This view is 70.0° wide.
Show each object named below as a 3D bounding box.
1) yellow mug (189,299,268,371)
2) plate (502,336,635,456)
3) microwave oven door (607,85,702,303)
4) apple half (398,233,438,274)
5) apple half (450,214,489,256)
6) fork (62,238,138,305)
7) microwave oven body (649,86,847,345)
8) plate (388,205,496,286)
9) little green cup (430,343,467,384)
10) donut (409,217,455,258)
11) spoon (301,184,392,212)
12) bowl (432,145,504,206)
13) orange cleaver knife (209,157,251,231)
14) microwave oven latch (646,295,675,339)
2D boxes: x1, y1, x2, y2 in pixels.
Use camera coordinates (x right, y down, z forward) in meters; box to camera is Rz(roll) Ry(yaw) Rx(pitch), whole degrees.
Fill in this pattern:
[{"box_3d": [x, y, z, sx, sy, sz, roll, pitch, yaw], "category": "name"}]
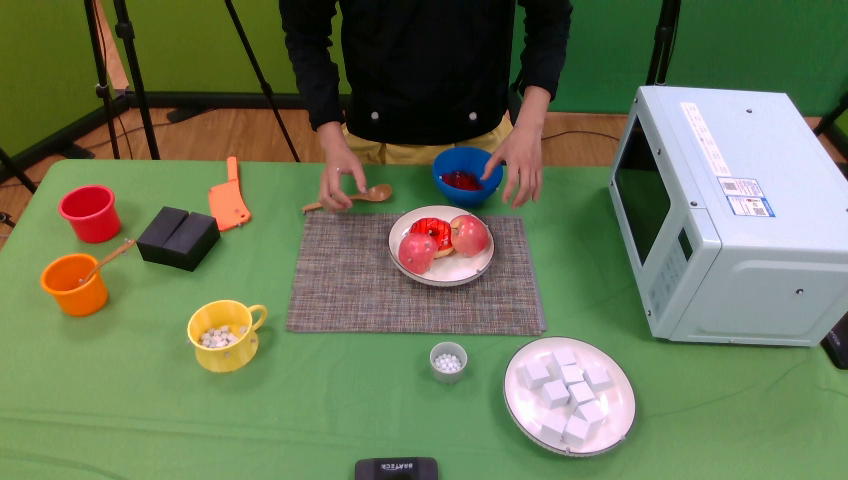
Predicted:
[{"box_3d": [-0.316, 0.148, 1.002, 0.131, 0.064, 0.099, -33, 56, -31], "category": "yellow mug"}, {"box_3d": [0.225, 0.248, 0.964, 0.208, 0.039, 0.206, 2, 46, -2], "category": "plate"}, {"box_3d": [0.423, -0.094, 1.140, 0.039, 0.245, 0.353, 2, 46, -1], "category": "microwave oven door"}, {"box_3d": [-0.016, 0.022, 1.123, 0.081, 0.033, 0.081, -2, 83, 14], "category": "apple half"}, {"box_3d": [0.092, -0.014, 1.158, 0.075, 0.053, 0.080, 35, 39, -29], "category": "apple half"}, {"box_3d": [-0.547, 0.053, 1.018, 0.207, 0.019, 0.028, -36, 41, 23], "category": "fork"}, {"box_3d": [0.568, -0.053, 1.118, 0.326, 0.261, 0.439, 2, 45, -1], "category": "microwave oven body"}, {"box_3d": [0.033, 0.014, 1.171, 0.209, 0.038, 0.208, 3, 46, -2], "category": "plate"}, {"box_3d": [0.039, 0.203, 0.994, 0.061, 0.039, 0.061, 2, 46, -2], "category": "little green cup"}, {"box_3d": [0.019, -0.006, 1.174, 0.099, 0.048, 0.098, 2, 44, -2], "category": "donut"}, {"box_3d": [-0.162, -0.087, 1.270, 0.194, 0.022, 0.041, -11, 63, -15], "category": "spoon"}, {"box_3d": [0.091, -0.124, 1.287, 0.151, 0.077, 0.150, 2, 46, -2], "category": "bowl"}, {"box_3d": [-0.409, -0.099, 1.266, 0.077, 0.012, 0.210, -14, 50, -10], "category": "orange cleaver knife"}, {"box_3d": [0.412, 0.134, 1.061, 0.030, 0.029, 0.078, 4, 45, 1], "category": "microwave oven latch"}]
